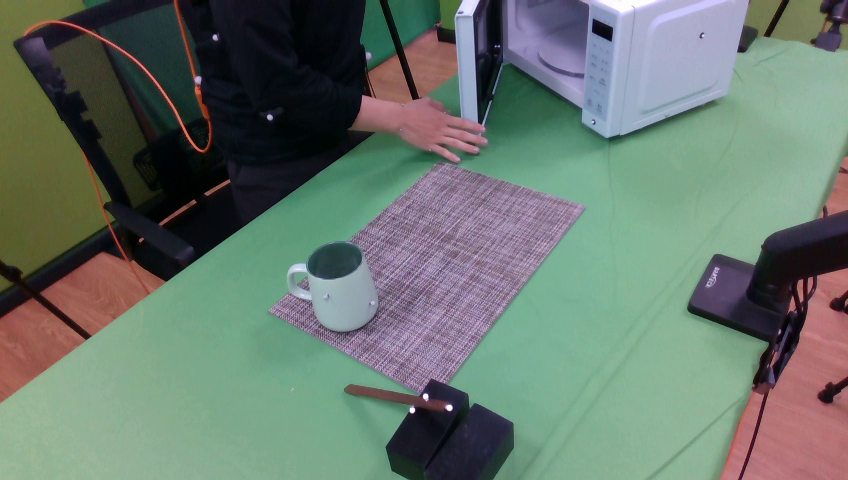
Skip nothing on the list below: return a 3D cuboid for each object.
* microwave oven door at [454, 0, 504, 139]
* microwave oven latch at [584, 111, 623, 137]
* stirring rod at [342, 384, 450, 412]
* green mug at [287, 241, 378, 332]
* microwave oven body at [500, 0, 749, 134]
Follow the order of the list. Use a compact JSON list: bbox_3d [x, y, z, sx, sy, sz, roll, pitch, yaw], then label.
[{"bbox_3d":[0.118,-0.403,1.228,0.039,0.245,0.355,5,42,14],"label":"microwave oven door"},{"bbox_3d":[0.337,-0.222,1.142,0.030,0.029,0.078,-21,42,-14],"label":"microwave oven latch"},{"bbox_3d":[-0.038,0.186,0.714,0.175,0.006,0.014,-3,22,43],"label":"stirring rod"},{"bbox_3d":[-0.131,0.065,0.843,0.125,0.105,0.092,3,42,12],"label":"green mug"},{"bbox_3d":[0.382,-0.444,1.246,0.327,0.261,0.437,-22,42,-16],"label":"microwave oven body"}]
